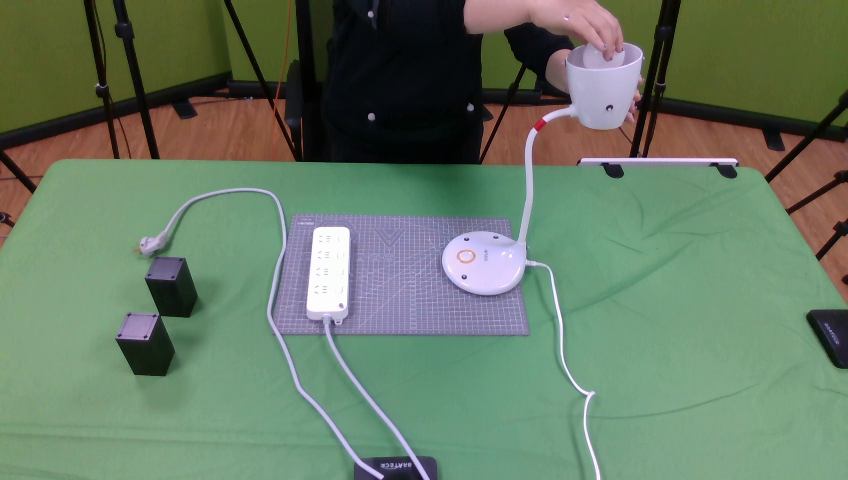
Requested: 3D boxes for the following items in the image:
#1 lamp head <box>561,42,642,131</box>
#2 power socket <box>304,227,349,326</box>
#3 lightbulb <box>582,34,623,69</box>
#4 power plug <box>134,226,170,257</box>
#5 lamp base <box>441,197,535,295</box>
[{"bbox_3d":[0.270,-0.230,0.935,0.112,0.123,0.112,-2,36,2],"label":"lamp head"},{"bbox_3d":[-0.177,0.059,1.115,0.072,0.033,0.225,-1,46,-4],"label":"power socket"},{"bbox_3d":[0.270,-0.257,0.921,0.059,0.108,0.059,-6,33,4],"label":"lightbulb"},{"bbox_3d":[-0.515,0.006,1.153,0.052,0.035,0.072,-6,24,6],"label":"power plug"},{"bbox_3d":[0.129,-0.012,1.105,0.179,0.181,0.159,-1,46,-9],"label":"lamp base"}]
